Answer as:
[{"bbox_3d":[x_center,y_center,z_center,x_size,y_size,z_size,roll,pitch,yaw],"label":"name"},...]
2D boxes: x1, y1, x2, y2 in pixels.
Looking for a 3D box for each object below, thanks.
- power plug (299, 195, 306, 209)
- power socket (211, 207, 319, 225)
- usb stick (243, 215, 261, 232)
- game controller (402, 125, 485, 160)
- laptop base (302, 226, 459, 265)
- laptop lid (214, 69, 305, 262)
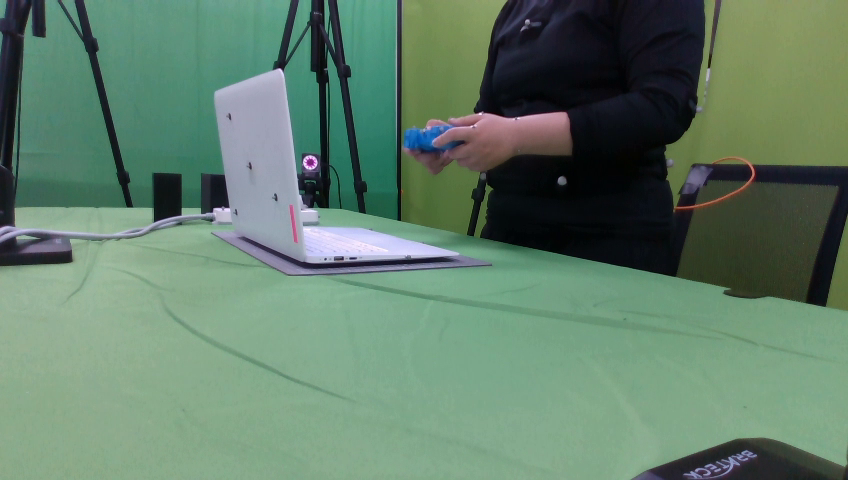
[{"bbox_3d":[-0.283,-0.075,1.342,0.035,0.052,0.072,0,4,-18],"label":"power plug"},{"bbox_3d":[-0.334,-0.051,1.281,0.228,0.032,0.072,-1,9,-29],"label":"power socket"},{"bbox_3d":[-0.302,-0.028,1.070,0.021,0.027,0.059,-1,12,-30],"label":"usb stick"},{"bbox_3d":[0.029,-0.172,1.044,0.097,0.051,0.154,8,1,-30],"label":"game controller"},{"bbox_3d":[-0.136,0.006,0.951,0.237,0.023,0.352,2,6,-32],"label":"laptop base"},{"bbox_3d":[-0.246,-0.107,0.865,0.013,0.241,0.355,-11,14,-30],"label":"laptop lid"}]
